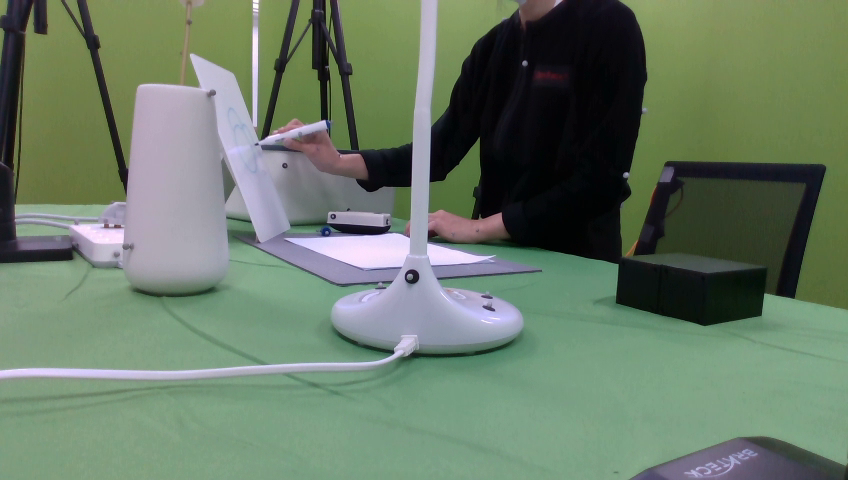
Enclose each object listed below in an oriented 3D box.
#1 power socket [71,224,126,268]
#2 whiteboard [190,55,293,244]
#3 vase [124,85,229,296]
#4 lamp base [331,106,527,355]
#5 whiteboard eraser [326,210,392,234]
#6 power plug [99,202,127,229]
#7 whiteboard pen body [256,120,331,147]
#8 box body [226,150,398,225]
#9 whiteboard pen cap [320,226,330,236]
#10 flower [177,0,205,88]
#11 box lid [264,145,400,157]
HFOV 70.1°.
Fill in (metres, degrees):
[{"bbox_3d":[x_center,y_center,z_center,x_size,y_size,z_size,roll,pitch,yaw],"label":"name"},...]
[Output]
[{"bbox_3d":[-0.409,0.004,0.793,0.072,0.032,0.225,-2,8,-37],"label":"power socket"},{"bbox_3d":[-0.362,-0.129,1.029,0.144,0.305,0.217,-18,7,3],"label":"whiteboard"},{"bbox_3d":[-0.244,-0.047,0.598,0.098,0.200,0.098,3,8,0],"label":"vase"},{"bbox_3d":[0.006,-0.012,0.478,0.161,0.180,0.179,2,10,2],"label":"lamp base"},{"bbox_3d":[-0.121,-0.033,1.131,0.112,0.042,0.056,4,8,13],"label":"whiteboard eraser"},{"bbox_3d":[-0.415,-0.026,0.848,0.073,0.052,0.035,6,5,-28],"label":"power plug"},{"bbox_3d":[-0.237,-0.190,1.091,0.141,0.017,0.017,-17,9,-2],"label":"whiteboard pen body"},{"bbox_3d":[-0.265,-0.129,1.380,0.253,0.160,0.366,8,9,39],"label":"box body"},{"bbox_3d":[-0.176,-0.016,1.075,0.018,0.018,0.033,1,5,-13],"label":"whiteboard pen cap"},{"bbox_3d":[-0.243,-0.131,0.609,0.044,0.361,0.038,-5,-12,11],"label":"flower"},{"bbox_3d":[-0.263,-0.203,1.369,0.262,0.015,0.373,9,10,39],"label":"box lid"}]
